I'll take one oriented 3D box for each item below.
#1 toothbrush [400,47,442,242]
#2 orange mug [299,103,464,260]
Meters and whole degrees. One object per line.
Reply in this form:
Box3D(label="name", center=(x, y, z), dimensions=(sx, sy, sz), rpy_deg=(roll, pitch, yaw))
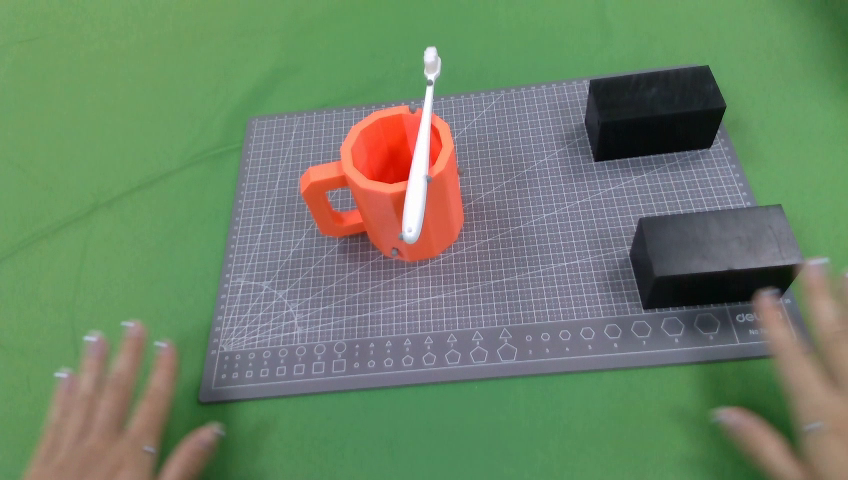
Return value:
Box3D(label="toothbrush", center=(-0.001, -0.077, 0.442), dimensions=(0.014, 0.017, 0.180), rpy_deg=(4, 58, 6))
Box3D(label="orange mug", center=(-0.032, -0.042, 0.487), dimensions=(0.126, 0.102, 0.082), rpy_deg=(-10, 57, -3))
